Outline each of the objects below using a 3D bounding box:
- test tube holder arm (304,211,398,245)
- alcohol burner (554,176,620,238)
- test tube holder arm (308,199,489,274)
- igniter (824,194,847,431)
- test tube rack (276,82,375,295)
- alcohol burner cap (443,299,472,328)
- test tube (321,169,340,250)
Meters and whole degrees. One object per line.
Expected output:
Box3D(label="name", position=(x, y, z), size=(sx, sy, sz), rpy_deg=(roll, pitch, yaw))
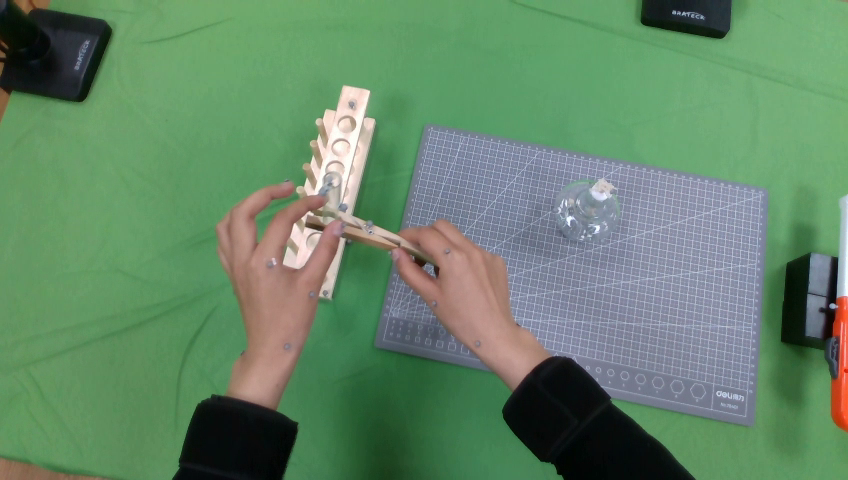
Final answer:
Box3D(label="test tube holder arm", position=(-0.067, -0.011, 0.562), size=(0.088, 0.015, 0.010), rpy_deg=(13, 77, -7))
Box3D(label="alcohol burner", position=(0.194, -0.044, 0.708), size=(0.078, 0.119, 0.077), rpy_deg=(0, 75, 1))
Box3D(label="test tube holder arm", position=(-0.023, -0.003, 0.568), size=(0.179, 0.015, 0.013), rpy_deg=(19, 77, -6))
Box3D(label="igniter", position=(0.480, 0.077, 0.678), size=(0.057, 0.025, 0.275), rpy_deg=(14, 72, 0))
Box3D(label="test tube rack", position=(-0.121, -0.064, 0.726), size=(0.067, 0.085, 0.241), rpy_deg=(12, 75, 3))
Box3D(label="alcohol burner cap", position=(0.041, 0.084, 0.708), size=(0.034, 0.048, 0.033), rpy_deg=(1, 75, -2))
Box3D(label="test tube", position=(-0.086, -0.023, 0.554), size=(0.017, 0.151, 0.017), rpy_deg=(3, 67, -8))
